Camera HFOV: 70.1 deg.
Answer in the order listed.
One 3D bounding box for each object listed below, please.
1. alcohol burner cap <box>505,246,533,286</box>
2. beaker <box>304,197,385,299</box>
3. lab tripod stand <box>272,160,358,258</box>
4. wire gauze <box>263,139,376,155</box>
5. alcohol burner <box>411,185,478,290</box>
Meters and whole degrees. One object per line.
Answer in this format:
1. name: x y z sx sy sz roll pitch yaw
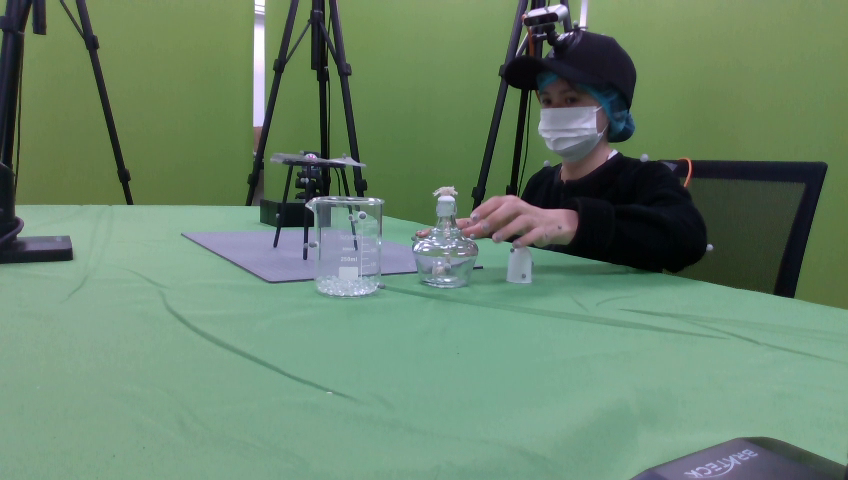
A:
1. alcohol burner cap: 0.117 0.032 0.739 0.034 0.048 0.034 2 7 0
2. beaker: -0.083 0.007 0.628 0.084 0.100 0.073 -1 7 -22
3. lab tripod stand: -0.159 -0.048 0.876 0.148 0.131 0.148 3 5 0
4. wire gauze: -0.151 -0.130 0.869 0.122 0.011 0.124 -8 5 -35
5. alcohol burner: 0.024 -0.004 0.697 0.078 0.119 0.078 0 7 0
